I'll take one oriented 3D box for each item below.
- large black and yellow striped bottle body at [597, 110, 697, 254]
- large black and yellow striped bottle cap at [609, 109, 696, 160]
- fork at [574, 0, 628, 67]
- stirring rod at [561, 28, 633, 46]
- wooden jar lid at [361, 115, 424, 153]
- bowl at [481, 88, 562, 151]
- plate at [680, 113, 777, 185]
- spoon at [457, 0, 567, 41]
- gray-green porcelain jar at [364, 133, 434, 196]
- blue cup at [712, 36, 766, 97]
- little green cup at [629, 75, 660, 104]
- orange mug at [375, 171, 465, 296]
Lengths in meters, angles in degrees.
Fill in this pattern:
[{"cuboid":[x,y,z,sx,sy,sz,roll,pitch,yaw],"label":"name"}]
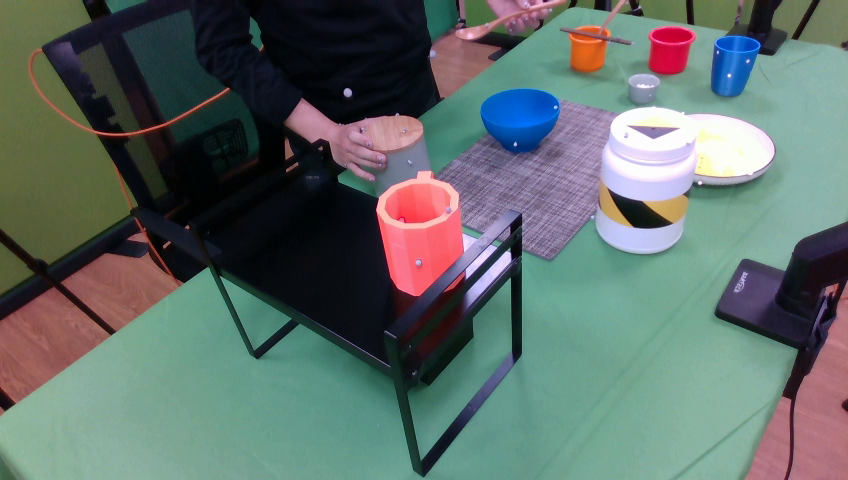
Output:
[{"cuboid":[0.331,-0.086,0.904,0.131,0.185,0.130,-5,41,4],"label":"large black and yellow striped bottle body"},{"cuboid":[0.319,-0.150,0.849,0.115,0.019,0.114,-4,40,3],"label":"large black and yellow striped bottle cap"},{"cuboid":[0.413,-0.481,1.377,0.207,0.019,0.028,-56,43,12],"label":"fork"},{"cuboid":[0.382,-0.453,1.345,0.174,0.006,0.014,27,53,33],"label":"stirring rod"},{"cuboid":[-0.052,-0.173,1.011,0.108,0.021,0.108,-6,40,6],"label":"wooden jar lid"},{"cuboid":[0.187,-0.223,1.161,0.151,0.077,0.150,-4,40,4],"label":"bowl"},{"cuboid":[0.506,-0.158,1.073,0.209,0.038,0.208,-5,40,4],"label":"plate"},{"cuboid":[0.150,-0.380,1.041,0.193,0.022,0.041,-17,39,15],"label":"spoon"},{"cuboid":[-0.040,-0.127,1.050,0.106,0.127,0.105,-8,40,7],"label":"gray-green porcelain jar"},{"cuboid":[0.627,-0.350,1.227,0.092,0.100,0.092,-4,39,4],"label":"blue cup"},{"cuboid":[0.458,-0.314,1.260,0.061,0.039,0.061,-4,40,4],"label":"little green cup"},{"cuboid":[0.000,-0.016,0.661,0.083,0.101,0.125,-2,45,8],"label":"orange mug"}]
